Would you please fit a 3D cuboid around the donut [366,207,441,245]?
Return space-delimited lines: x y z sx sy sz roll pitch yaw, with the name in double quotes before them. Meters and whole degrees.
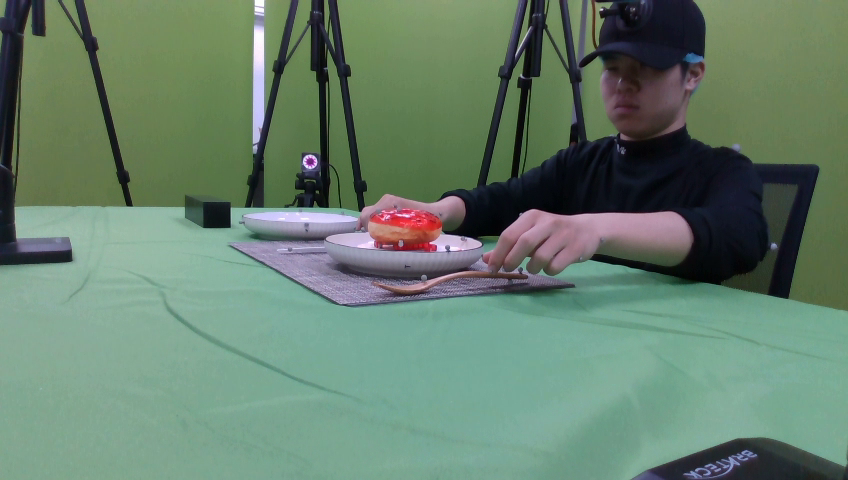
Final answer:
"donut" -0.027 -0.017 0.786 0.099 0.048 0.099 2 7 0

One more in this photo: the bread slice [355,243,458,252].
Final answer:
"bread slice" -0.027 0.019 0.794 0.131 0.019 0.105 5 7 17

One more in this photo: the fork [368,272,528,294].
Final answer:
"fork" 0.034 0.045 0.661 0.208 0.018 0.028 -4 0 -33

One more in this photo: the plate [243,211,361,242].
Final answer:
"plate" -0.219 -0.025 1.092 0.208 0.039 0.207 3 7 0

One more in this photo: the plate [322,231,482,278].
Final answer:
"plate" -0.028 0.018 0.789 0.209 0.038 0.209 3 7 0

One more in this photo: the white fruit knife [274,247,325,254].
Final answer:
"white fruit knife" -0.118 0.013 0.899 0.208 0.016 0.027 -3 -21 -27
